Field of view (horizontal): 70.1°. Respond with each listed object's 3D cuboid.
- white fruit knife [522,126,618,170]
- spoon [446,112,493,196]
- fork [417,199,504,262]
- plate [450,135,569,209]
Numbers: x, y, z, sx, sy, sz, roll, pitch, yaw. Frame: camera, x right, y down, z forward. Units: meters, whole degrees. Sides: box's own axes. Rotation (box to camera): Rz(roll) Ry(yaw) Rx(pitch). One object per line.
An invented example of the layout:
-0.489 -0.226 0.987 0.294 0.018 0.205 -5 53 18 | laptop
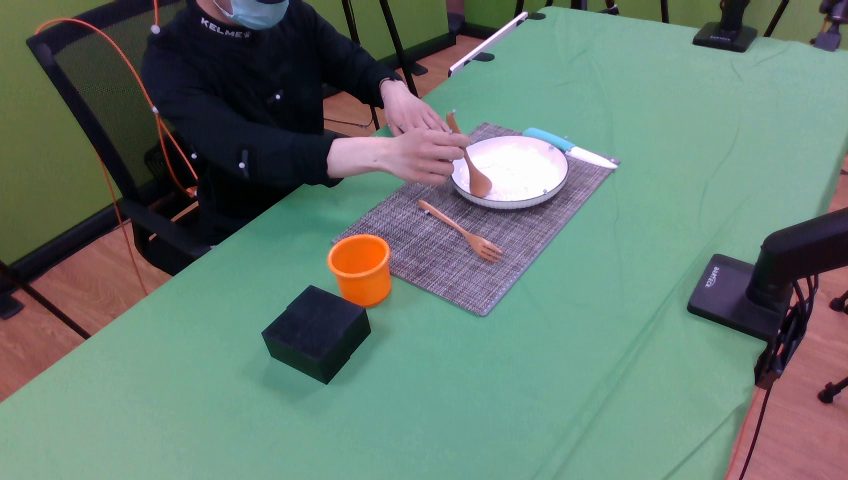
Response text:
0.272 -0.172 1.132 0.205 0.016 0.027 32 82 34 | white fruit knife
0.069 -0.134 0.970 0.041 0.195 0.021 -26 44 7 | spoon
0.053 -0.021 0.981 0.019 0.028 0.205 0 27 -41 | fork
0.149 -0.117 1.065 0.209 0.038 0.208 -4 41 4 | plate
